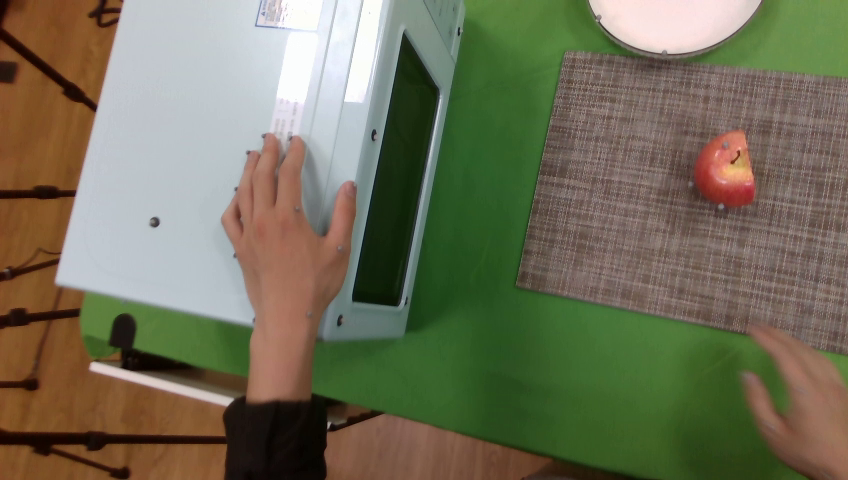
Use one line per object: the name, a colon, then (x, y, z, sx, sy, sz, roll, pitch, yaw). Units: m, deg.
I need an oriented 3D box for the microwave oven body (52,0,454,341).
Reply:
microwave oven body: (-0.173, -0.129, 0.698, 0.325, 0.261, 0.441, 9, 86, 15)

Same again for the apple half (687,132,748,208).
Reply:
apple half: (0.317, -0.073, 0.664, 0.053, 0.075, 0.080, -10, 84, 17)

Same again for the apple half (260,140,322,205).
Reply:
apple half: (-0.161, -0.078, 0.717, 0.081, 0.033, 0.081, 2, 98, 13)

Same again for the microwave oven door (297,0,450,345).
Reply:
microwave oven door: (-0.043, -0.066, 0.652, 0.039, 0.245, 0.355, 9, 85, 16)

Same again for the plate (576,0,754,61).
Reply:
plate: (0.287, -0.311, 0.726, 0.207, 0.039, 0.207, -2, 83, 14)

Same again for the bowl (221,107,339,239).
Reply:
bowl: (-0.158, -0.076, 0.727, 0.151, 0.077, 0.151, 0, 91, 21)

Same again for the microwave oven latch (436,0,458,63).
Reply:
microwave oven latch: (0.024, -0.266, 0.766, 0.030, 0.029, 0.079, 9, 86, 15)
